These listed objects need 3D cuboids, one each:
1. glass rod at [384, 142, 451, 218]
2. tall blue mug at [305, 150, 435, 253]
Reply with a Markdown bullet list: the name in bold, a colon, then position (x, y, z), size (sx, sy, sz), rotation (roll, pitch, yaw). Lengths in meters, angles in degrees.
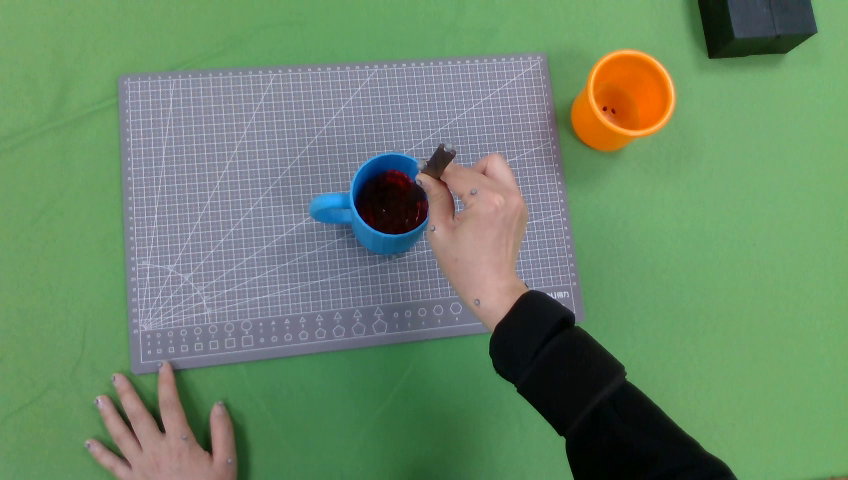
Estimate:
- **glass rod**: position (-0.010, -0.045, 0.508), size (0.008, 0.200, 0.008), rotation (3, 77, -15)
- **tall blue mug**: position (-0.048, -0.026, 0.570), size (0.107, 0.108, 0.077), rotation (-29, 86, -10)
